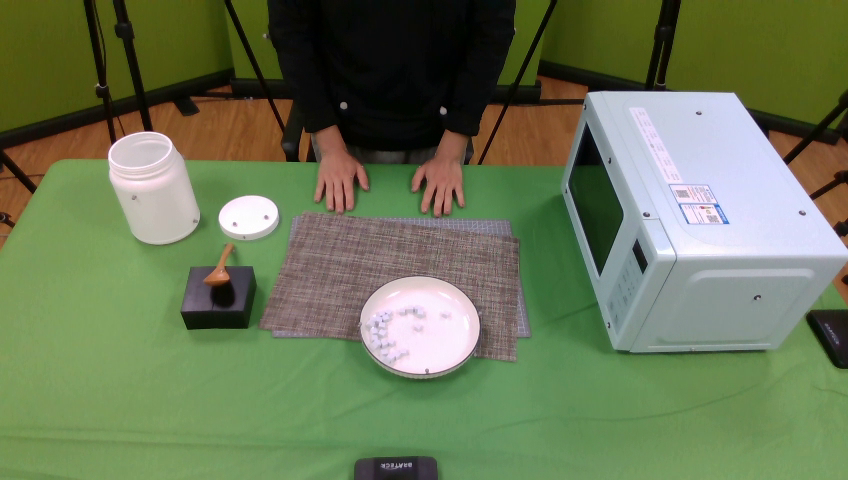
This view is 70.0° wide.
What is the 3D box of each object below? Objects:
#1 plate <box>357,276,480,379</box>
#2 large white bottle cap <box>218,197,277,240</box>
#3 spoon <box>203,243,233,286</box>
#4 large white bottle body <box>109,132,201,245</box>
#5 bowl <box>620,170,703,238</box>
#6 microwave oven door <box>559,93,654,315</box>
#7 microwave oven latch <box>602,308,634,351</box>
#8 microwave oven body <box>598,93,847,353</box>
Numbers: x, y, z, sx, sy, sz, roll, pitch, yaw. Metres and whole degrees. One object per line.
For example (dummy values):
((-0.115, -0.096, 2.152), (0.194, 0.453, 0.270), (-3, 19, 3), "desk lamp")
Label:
((-0.009, 0.151, 1.038), (0.209, 0.038, 0.208), (2, 47, -2), "plate")
((-0.354, -0.045, 1.220), (0.115, 0.018, 0.114), (2, 45, -2), "large white bottle cap")
((-0.360, 0.039, 1.087), (0.041, 0.022, 0.192), (-5, 24, -7), "spoon")
((-0.506, -0.097, 1.141), (0.131, 0.185, 0.130), (2, 46, -2), "large white bottle body")
((0.445, -0.057, 1.166), (0.151, 0.077, 0.150), (1, 46, -1), "bowl")
((0.327, -0.074, 1.123), (0.039, 0.245, 0.353), (-1, 46, -5), "microwave oven door")
((0.332, 0.153, 1.044), (0.030, 0.029, 0.078), (-1, 45, -4), "microwave oven latch")
((0.475, -0.041, 1.109), (0.326, 0.261, 0.438), (-1, 45, -4), "microwave oven body")
